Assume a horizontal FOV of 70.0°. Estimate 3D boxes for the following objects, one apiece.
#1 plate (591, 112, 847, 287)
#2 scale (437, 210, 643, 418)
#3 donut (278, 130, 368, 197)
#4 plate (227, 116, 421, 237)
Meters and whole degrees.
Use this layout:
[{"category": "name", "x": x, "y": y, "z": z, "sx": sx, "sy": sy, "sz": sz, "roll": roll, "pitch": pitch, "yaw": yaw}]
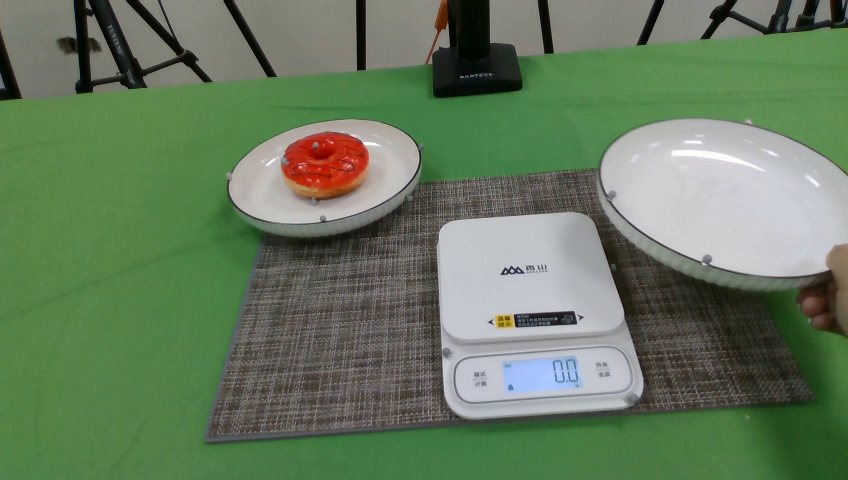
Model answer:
[{"category": "plate", "x": 0.241, "y": -0.035, "z": 0.499, "sx": 0.208, "sy": 0.039, "sz": 0.205, "roll": 0, "pitch": 44, "yaw": 0}, {"category": "scale", "x": 0.087, "y": 0.052, "z": 0.508, "sx": 0.148, "sy": 0.032, "sz": 0.199, "roll": -5, "pitch": 43, "yaw": 3}, {"category": "donut", "x": -0.109, "y": -0.084, "z": 0.663, "sx": 0.099, "sy": 0.049, "sz": 0.098, "roll": -3, "pitch": 40, "yaw": 3}, {"category": "plate", "x": -0.106, "y": -0.068, "z": 0.661, "sx": 0.209, "sy": 0.038, "sz": 0.207, "roll": -4, "pitch": 40, "yaw": 4}]
